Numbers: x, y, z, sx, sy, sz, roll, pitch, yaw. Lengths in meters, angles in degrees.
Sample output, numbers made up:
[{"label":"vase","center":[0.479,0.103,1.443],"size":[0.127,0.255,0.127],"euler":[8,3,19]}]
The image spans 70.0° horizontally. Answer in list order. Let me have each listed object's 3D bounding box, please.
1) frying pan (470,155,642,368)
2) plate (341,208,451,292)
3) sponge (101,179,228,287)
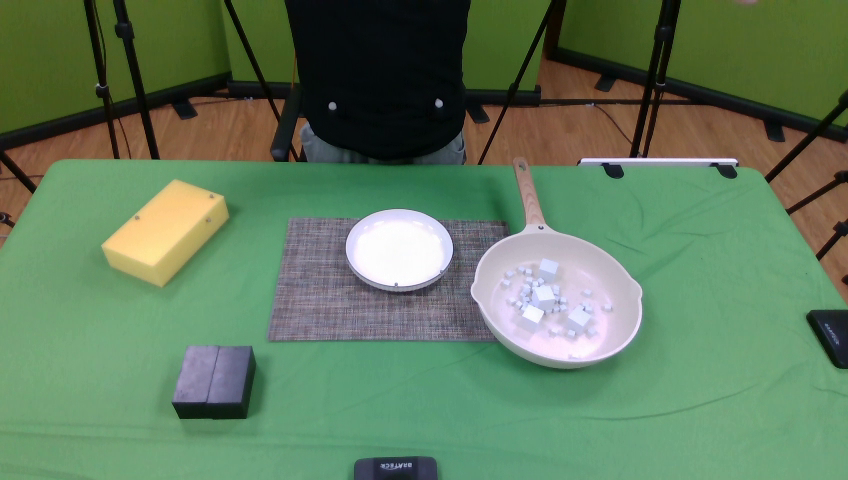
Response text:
[{"label":"frying pan","center":[0.222,0.022,1.134],"size":[0.307,0.103,0.484],"euler":[0,55,-7]},{"label":"plate","center":[-0.053,0.022,1.157],"size":[0.208,0.039,0.206],"euler":[2,46,-2]},{"label":"sponge","center":[-0.485,-0.018,1.151],"size":[0.118,0.061,0.206],"euler":[19,47,12]}]
